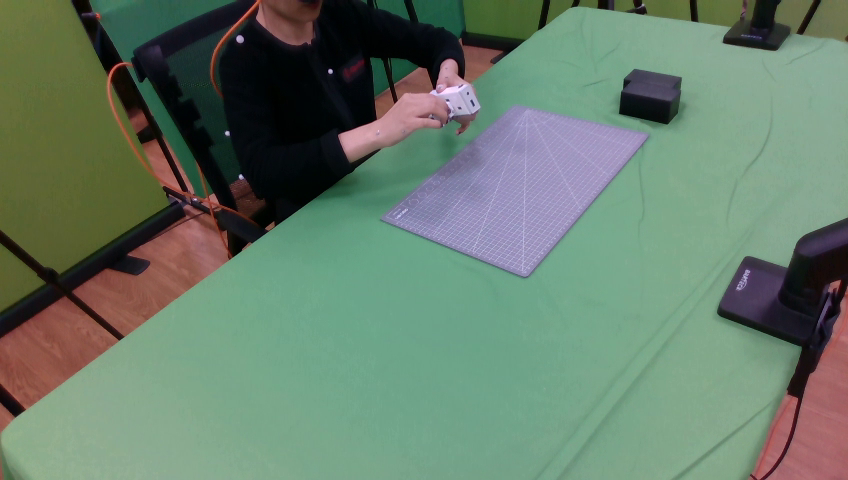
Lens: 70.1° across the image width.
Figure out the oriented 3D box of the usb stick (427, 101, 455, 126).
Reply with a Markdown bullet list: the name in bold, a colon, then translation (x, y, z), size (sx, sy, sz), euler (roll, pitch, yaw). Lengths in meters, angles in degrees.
- **usb stick**: translation (0.036, -0.232, 1.094), size (0.059, 0.027, 0.021), euler (-40, 24, -22)

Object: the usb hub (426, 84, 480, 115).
- **usb hub**: translation (0.051, -0.255, 1.109), size (0.025, 0.050, 0.124), euler (-41, 24, -18)
